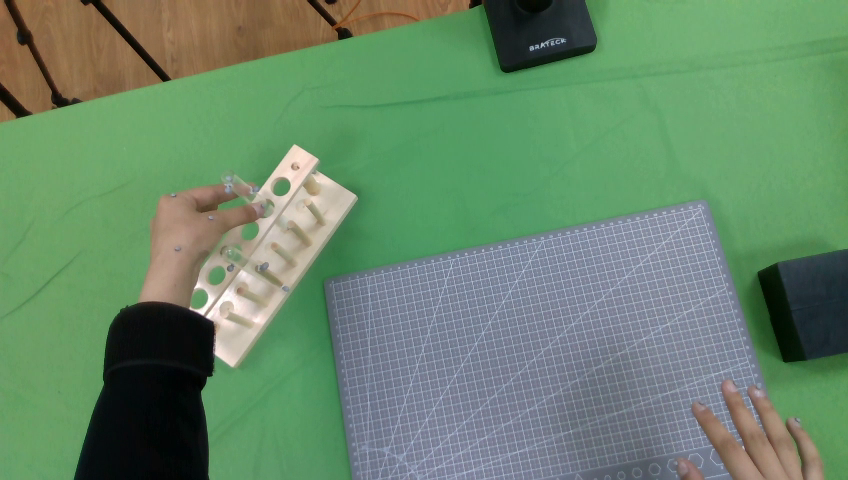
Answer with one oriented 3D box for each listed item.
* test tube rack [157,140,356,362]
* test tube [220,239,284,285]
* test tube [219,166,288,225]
[{"bbox_3d":[-0.181,0.016,0.682,0.066,0.085,0.242,33,82,12],"label":"test tube rack"},{"bbox_3d":[-0.176,0.025,0.633,0.017,0.151,0.017,-1,74,6],"label":"test tube"},{"bbox_3d":[-0.177,-0.044,0.645,0.017,0.151,0.017,-2,74,9],"label":"test tube"}]
